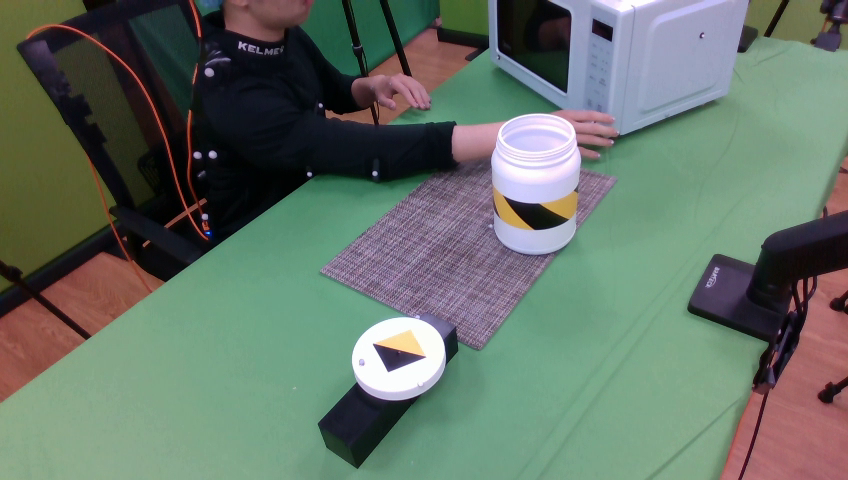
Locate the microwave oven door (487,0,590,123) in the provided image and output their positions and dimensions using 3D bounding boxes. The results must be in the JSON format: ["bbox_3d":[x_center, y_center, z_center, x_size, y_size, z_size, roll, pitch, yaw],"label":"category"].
[{"bbox_3d":[0.231,-0.420,1.231,0.039,0.245,0.352,-22,43,-16],"label":"microwave oven door"}]

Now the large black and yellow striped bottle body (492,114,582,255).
[{"bbox_3d":[0.169,-0.083,0.912,0.131,0.185,0.130,-4,41,4],"label":"large black and yellow striped bottle body"}]

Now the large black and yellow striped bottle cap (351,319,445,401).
[{"bbox_3d":[-0.031,0.143,0.735,0.115,0.019,0.114,-3,40,3],"label":"large black and yellow striped bottle cap"}]

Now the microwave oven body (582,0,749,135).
[{"bbox_3d":[0.382,-0.444,1.246,0.327,0.261,0.437,-22,42,-16],"label":"microwave oven body"}]

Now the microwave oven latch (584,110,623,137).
[{"bbox_3d":[0.337,-0.222,1.142,0.030,0.029,0.078,-21,42,-15],"label":"microwave oven latch"}]
